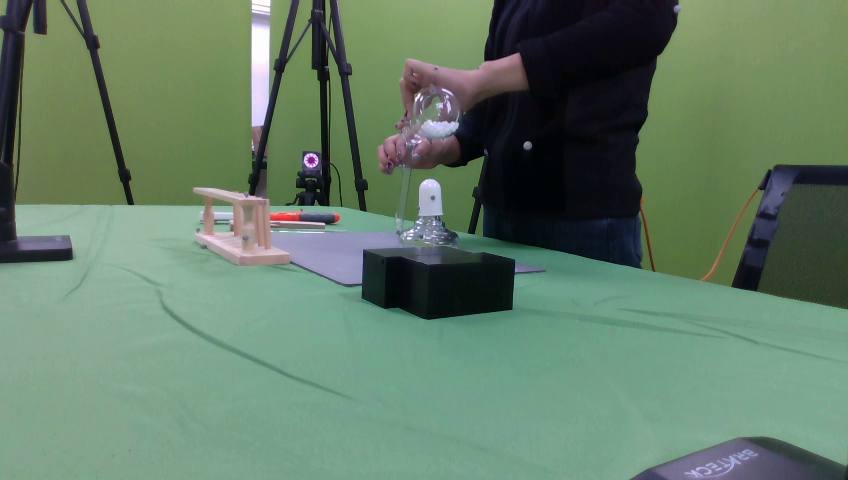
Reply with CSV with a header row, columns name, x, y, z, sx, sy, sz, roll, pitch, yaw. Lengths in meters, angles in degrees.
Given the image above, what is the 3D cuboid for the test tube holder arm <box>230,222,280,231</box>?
name,x,y,z,sx,sy,sz,roll,pitch,yaw
test tube holder arm,-0.312,-0.025,1.118,0.088,0.015,0.010,-1,45,-30

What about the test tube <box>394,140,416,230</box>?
name,x,y,z,sx,sy,sz,roll,pitch,yaw
test tube,-0.031,-0.085,0.966,0.017,0.150,0.017,8,23,-3

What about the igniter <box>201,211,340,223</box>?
name,x,y,z,sx,sy,sz,roll,pitch,yaw
igniter,-0.311,-0.048,1.243,0.278,0.025,0.057,-1,-2,-24

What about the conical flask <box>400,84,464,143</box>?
name,x,y,z,sx,sy,sz,roll,pitch,yaw
conical flask,0.002,-0.174,0.881,0.075,0.075,0.121,-1,-5,-21

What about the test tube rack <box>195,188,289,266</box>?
name,x,y,z,sx,sy,sz,roll,pitch,yaw
test tube rack,-0.266,-0.025,0.864,0.067,0.085,0.241,-2,9,-33

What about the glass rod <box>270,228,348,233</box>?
name,x,y,z,sx,sy,sz,roll,pitch,yaw
glass rod,-0.234,-0.017,1.105,0.201,0.008,0.008,1,7,-26

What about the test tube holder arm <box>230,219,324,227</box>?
name,x,y,z,sx,sy,sz,roll,pitch,yaw
test tube holder arm,-0.275,-0.031,1.145,0.179,0.015,0.013,-3,46,-31

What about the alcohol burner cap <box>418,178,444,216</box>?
name,x,y,z,sx,sy,sz,roll,pitch,yaw
alcohol burner cap,0.007,-0.053,0.745,0.034,0.048,0.034,-3,6,1

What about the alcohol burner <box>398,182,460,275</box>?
name,x,y,z,sx,sy,sz,roll,pitch,yaw
alcohol burner,0.007,-0.017,0.751,0.078,0.119,0.078,3,10,0
